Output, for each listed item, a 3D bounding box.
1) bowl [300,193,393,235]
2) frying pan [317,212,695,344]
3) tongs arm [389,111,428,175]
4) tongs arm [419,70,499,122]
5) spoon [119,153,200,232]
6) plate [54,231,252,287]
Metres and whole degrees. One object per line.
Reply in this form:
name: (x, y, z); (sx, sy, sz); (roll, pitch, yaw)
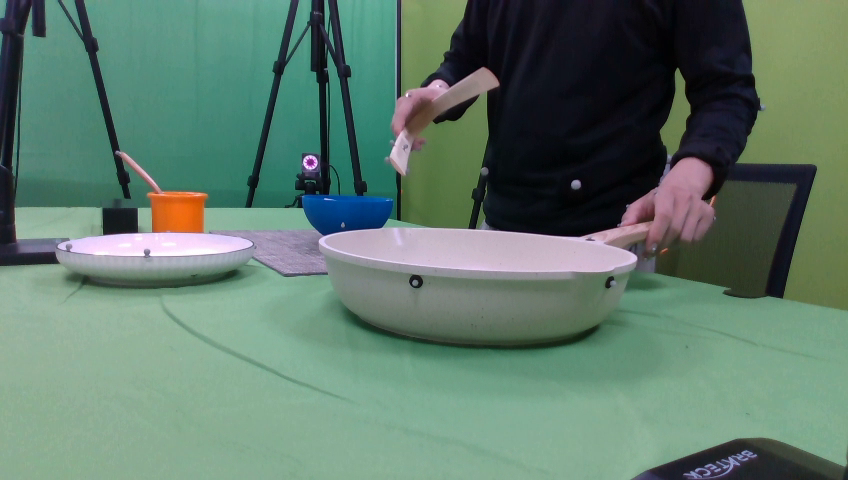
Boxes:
bowl: (-0.128, -0.034, 0.995); (0.151, 0.077, 0.151); (2, 7, 0)
frying pan: (0.133, 0.013, 0.630); (0.490, 0.102, 0.305); (-12, 14, -31)
tongs arm: (-0.015, -0.138, 0.804); (0.026, 0.050, 0.384); (45, 9, -11)
tongs arm: (0.038, -0.186, 0.797); (0.028, 0.028, 0.386); (41, 0, -11)
spoon: (-0.439, -0.077, 1.001); (0.021, 0.193, 0.042); (-43, -7, 21)
plate: (-0.309, 0.020, 0.705); (0.208, 0.039, 0.207); (2, 7, 0)
